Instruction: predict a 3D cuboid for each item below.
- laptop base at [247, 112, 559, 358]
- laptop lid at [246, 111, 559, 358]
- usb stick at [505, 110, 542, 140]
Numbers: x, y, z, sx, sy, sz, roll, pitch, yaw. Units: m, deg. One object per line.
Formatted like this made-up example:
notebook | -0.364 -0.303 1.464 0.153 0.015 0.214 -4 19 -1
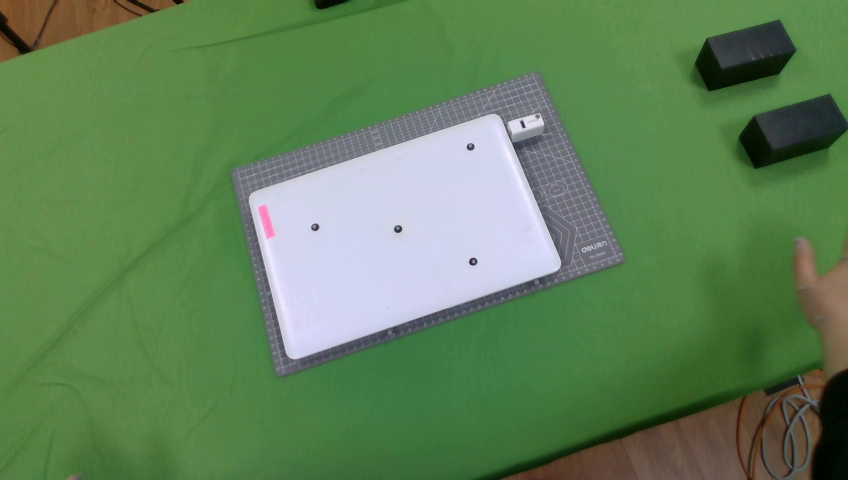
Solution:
laptop base | -0.034 -0.013 0.776 0.354 0.023 0.234 -19 73 -2
laptop lid | -0.034 -0.015 0.764 0.357 0.013 0.240 -17 72 -1
usb stick | 0.123 -0.150 0.798 0.059 0.027 0.021 -17 69 1
